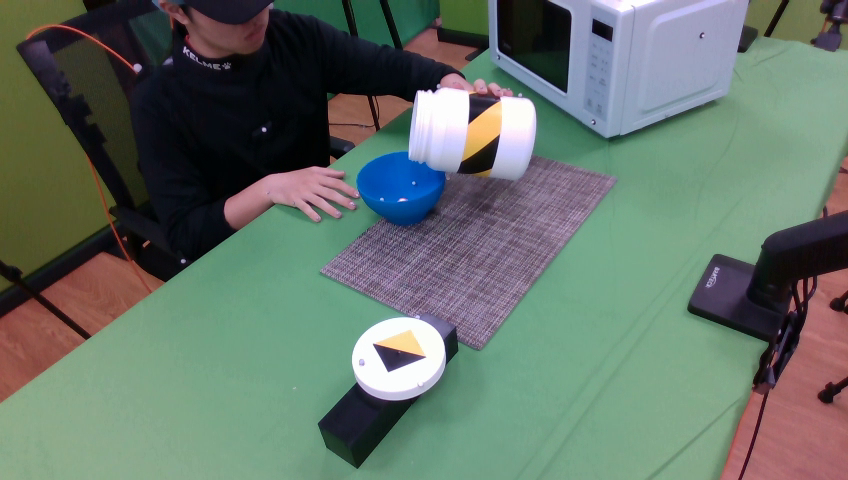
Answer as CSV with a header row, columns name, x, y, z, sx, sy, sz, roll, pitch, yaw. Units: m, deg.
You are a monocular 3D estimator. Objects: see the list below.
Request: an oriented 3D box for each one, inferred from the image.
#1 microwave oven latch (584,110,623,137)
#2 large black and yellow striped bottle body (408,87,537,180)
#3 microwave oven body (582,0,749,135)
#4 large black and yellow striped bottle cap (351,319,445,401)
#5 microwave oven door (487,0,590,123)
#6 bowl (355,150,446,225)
name,x,y,z,sx,sy,sz,roll,pitch,yaw
microwave oven latch,0.337,-0.222,1.142,0.030,0.029,0.078,-21,42,-14
large black and yellow striped bottle body,0.072,-0.169,0.952,0.184,0.131,0.130,6,40,-7
microwave oven body,0.382,-0.444,1.246,0.327,0.261,0.437,-22,42,-16
large black and yellow striped bottle cap,-0.031,0.143,0.735,0.115,0.019,0.114,-3,40,3
microwave oven door,0.232,-0.420,1.230,0.039,0.245,0.352,-22,43,-16
bowl,-0.035,-0.078,1.017,0.151,0.077,0.150,-4,40,4
